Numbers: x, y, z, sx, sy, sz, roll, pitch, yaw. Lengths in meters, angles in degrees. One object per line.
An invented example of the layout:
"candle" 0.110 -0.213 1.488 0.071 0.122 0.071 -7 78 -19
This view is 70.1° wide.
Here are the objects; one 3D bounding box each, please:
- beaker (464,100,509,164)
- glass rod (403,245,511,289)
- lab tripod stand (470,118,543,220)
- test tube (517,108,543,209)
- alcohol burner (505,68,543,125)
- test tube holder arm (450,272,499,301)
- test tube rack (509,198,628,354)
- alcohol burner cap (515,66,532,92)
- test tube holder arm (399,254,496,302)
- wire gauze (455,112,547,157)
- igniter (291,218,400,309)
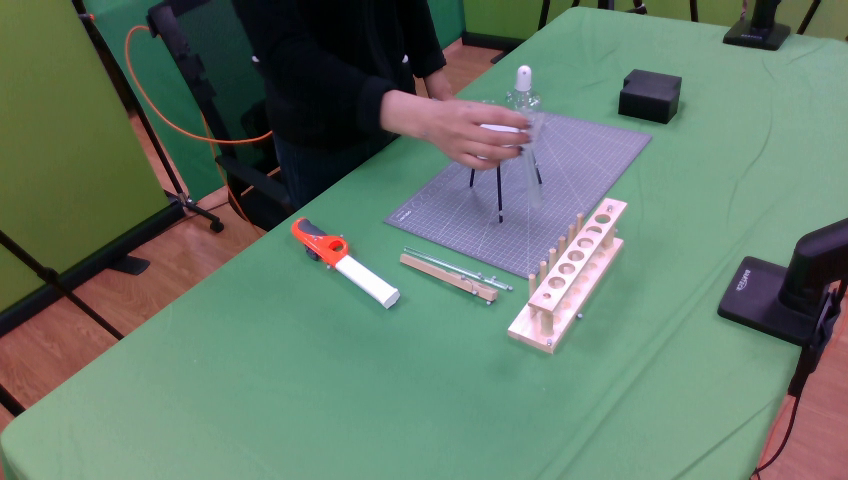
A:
"beaker" 0.120 -0.200 1.134 0.083 0.101 0.074 5 43 16
"glass rod" 0.047 0.040 0.938 0.198 0.008 0.008 21 49 30
"lab tripod stand" 0.135 -0.128 1.019 0.148 0.132 0.147 -5 38 5
"test tube" 0.140 -0.103 0.796 0.017 0.151 0.017 -11 37 8
"alcohol burner" 0.201 -0.293 1.216 0.078 0.119 0.077 -4 41 4
"test tube holder arm" 0.071 0.068 0.895 0.087 0.015 0.010 21 16 32
"test tube rack" 0.206 0.039 0.850 0.066 0.085 0.243 20 48 31
"alcohol burner cap" 0.198 -0.320 1.192 0.034 0.048 0.033 -1 47 1
"test tube holder arm" 0.032 0.054 0.914 0.177 0.015 0.013 21 16 32
"wire gauze" 0.125 -0.176 0.973 0.124 0.011 0.121 10 42 22
"igniter" -0.135 0.031 0.970 0.057 0.025 0.274 -41 49 -19
